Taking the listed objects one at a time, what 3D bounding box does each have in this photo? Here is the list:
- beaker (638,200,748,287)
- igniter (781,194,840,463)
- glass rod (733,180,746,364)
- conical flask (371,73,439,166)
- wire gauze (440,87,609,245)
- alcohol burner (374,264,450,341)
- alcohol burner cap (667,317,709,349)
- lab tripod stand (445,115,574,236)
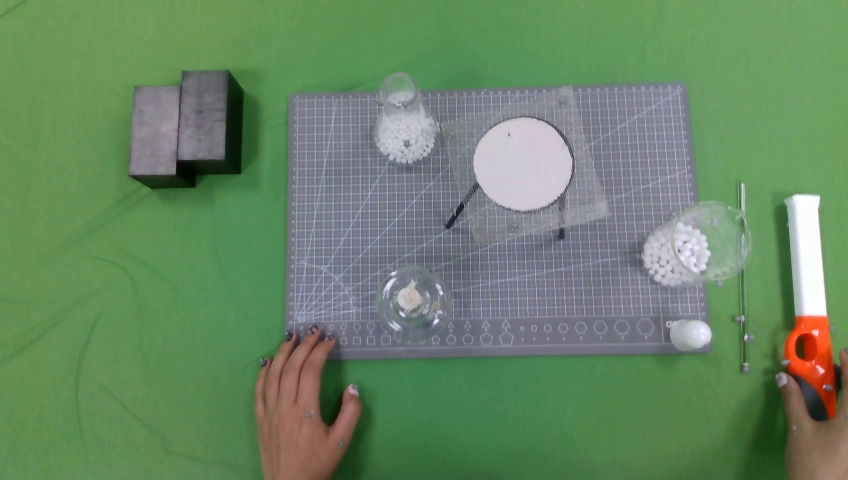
[{"bbox_3d":[0.265,0.006,0.606,0.084,0.100,0.074,-38,81,-6],"label":"beaker"},{"bbox_3d":[0.399,0.088,0.629,0.057,0.025,0.275,2,81,-5],"label":"igniter"},{"bbox_3d":[0.339,0.032,0.650,0.008,0.008,0.199,3,80,1],"label":"glass rod"},{"bbox_3d":[-0.023,-0.128,0.622,0.075,0.122,0.075,0,80,2],"label":"conical flask"},{"bbox_3d":[0.088,-0.065,0.535,0.125,0.011,0.121,-14,81,-1],"label":"wire gauze"},{"bbox_3d":[-0.013,0.060,0.595,0.078,0.119,0.077,-1,78,3],"label":"alcohol burner"},{"bbox_3d":[0.273,0.094,0.620,0.034,0.048,0.033,0,79,1],"label":"alcohol burner cap"},{"bbox_3d":[0.088,-0.055,0.602,0.148,0.132,0.148,0,82,2],"label":"lab tripod stand"}]
